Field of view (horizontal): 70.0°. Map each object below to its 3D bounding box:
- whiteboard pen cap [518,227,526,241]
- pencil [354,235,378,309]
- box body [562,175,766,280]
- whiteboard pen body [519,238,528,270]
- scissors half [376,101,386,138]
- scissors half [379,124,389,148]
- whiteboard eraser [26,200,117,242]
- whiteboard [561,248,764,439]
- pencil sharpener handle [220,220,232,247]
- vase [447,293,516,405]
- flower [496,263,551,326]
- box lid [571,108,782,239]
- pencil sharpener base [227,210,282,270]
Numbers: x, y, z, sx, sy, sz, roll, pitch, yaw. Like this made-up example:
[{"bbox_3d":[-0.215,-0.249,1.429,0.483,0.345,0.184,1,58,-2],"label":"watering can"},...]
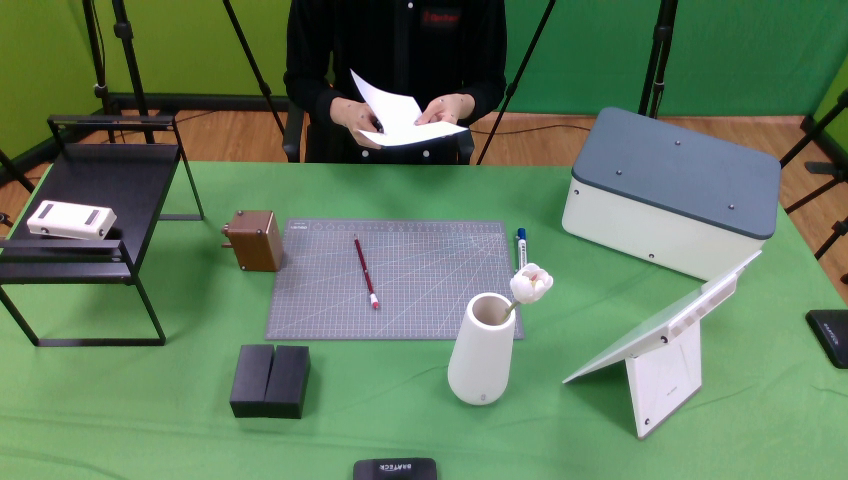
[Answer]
[{"bbox_3d":[0.197,-0.009,1.220,0.018,0.018,0.033,5,51,1],"label":"whiteboard pen cap"},{"bbox_3d":[-0.113,0.055,1.143,0.012,0.012,0.192,-10,46,-13],"label":"pencil"},{"bbox_3d":[0.486,-0.088,1.222,0.363,0.161,0.253,20,48,15],"label":"box body"},{"bbox_3d":[0.193,0.035,1.180,0.017,0.017,0.140,6,48,1],"label":"whiteboard pen body"},{"bbox_3d":[-0.074,-0.203,1.036,0.013,0.040,0.174,-14,29,2],"label":"scissors half"},{"bbox_3d":[-0.070,-0.183,1.042,0.013,0.040,0.175,-9,4,1],"label":"scissors half"},{"bbox_3d":[-0.532,-0.026,0.919,0.113,0.042,0.055,7,45,3],"label":"whiteboard eraser"},{"bbox_3d":[0.386,0.176,0.905,0.217,0.306,0.143,-26,72,-27],"label":"whiteboard"},{"bbox_3d":[-0.362,-0.009,1.105,0.030,0.068,0.036,1,52,1],"label":"pencil sharpener handle"},{"bbox_3d":[0.091,0.169,0.921,0.098,0.201,0.097,3,47,-3],"label":"vase"},{"bbox_3d":[0.102,0.121,0.853,0.044,0.363,0.038,-2,64,-10],"label":"flower"},{"bbox_3d":[0.491,-0.139,1.168,0.370,0.015,0.262,21,49,15],"label":"box lid"},{"bbox_3d":[-0.311,0.001,1.112,0.077,0.107,0.061,1,47,1],"label":"pencil sharpener base"}]
